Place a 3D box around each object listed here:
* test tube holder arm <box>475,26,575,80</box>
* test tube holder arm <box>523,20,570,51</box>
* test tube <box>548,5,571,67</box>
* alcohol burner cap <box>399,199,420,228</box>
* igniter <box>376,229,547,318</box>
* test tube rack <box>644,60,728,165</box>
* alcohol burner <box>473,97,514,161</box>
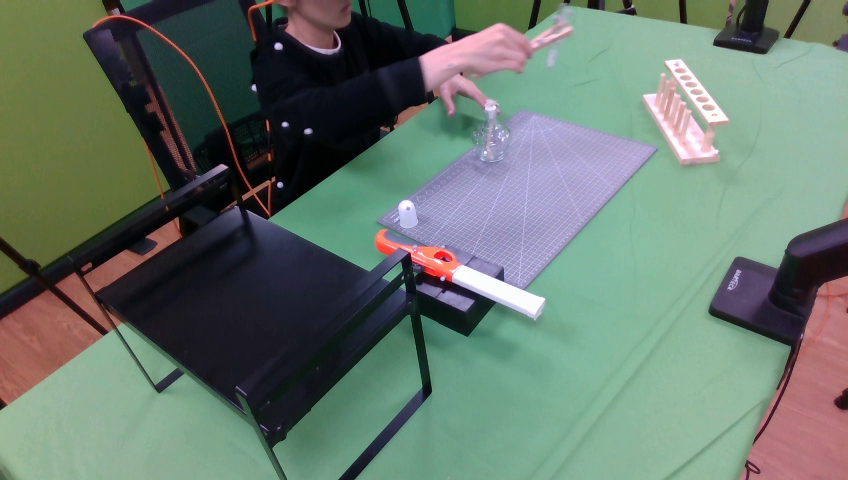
[{"bbox_3d":[0.165,-0.306,0.991,0.178,0.015,0.013,-27,72,0],"label":"test tube holder arm"},{"bbox_3d":[0.201,-0.333,0.993,0.088,0.015,0.010,-34,72,-2],"label":"test tube holder arm"},{"bbox_3d":[0.225,-0.336,1.007,0.017,0.150,0.017,-1,71,3],"label":"test tube"},{"bbox_3d":[-0.025,-0.047,1.014,0.034,0.048,0.033,-4,42,4],"label":"alcohol burner cap"},{"bbox_3d":[0.040,0.041,0.845,0.274,0.025,0.057,22,46,27],"label":"igniter"},{"bbox_3d":[0.486,-0.246,1.140,0.067,0.085,0.241,-5,41,4],"label":"test tube rack"},{"bbox_3d":[0.127,-0.208,1.123,0.078,0.119,0.077,-5,39,5],"label":"alcohol burner"}]
